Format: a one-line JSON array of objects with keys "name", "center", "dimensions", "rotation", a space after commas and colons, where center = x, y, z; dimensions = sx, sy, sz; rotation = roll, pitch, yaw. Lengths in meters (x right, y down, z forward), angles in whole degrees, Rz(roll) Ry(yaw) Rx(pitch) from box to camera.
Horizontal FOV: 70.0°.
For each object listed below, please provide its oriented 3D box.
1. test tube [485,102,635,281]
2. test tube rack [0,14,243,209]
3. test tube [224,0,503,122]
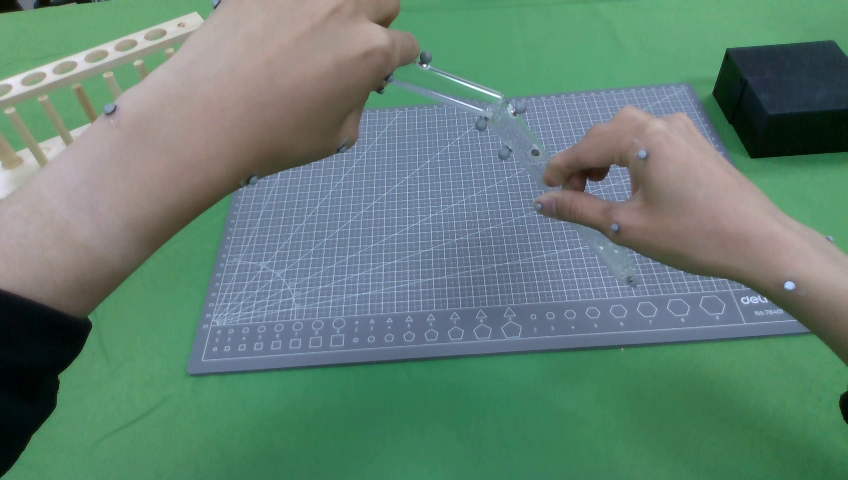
[{"name": "test tube", "center": [0.085, -0.023, 0.357], "dimensions": [0.017, 0.151, 0.017], "rotation": [-33, 31, 23]}, {"name": "test tube rack", "center": [-0.313, -0.130, 0.593], "dimensions": [0.242, 0.086, 0.066], "rotation": [-29, 52, -18]}, {"name": "test tube", "center": [-0.030, -0.094, 0.314], "dimensions": [0.151, 0.017, 0.017], "rotation": [20, 51, -4]}]
